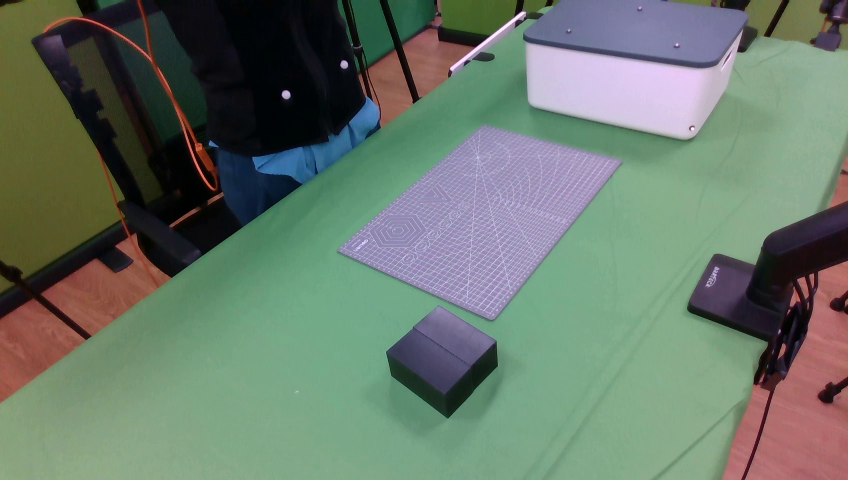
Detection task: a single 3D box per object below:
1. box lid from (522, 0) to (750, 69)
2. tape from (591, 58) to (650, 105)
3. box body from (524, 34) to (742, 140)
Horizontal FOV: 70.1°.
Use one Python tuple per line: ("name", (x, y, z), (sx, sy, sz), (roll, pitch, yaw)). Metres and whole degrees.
("box lid", (0.405, -0.409, 1.163), (0.369, 0.015, 0.264), (20, 47, 29))
("tape", (0.407, -0.331, 1.259), (0.117, 0.053, 0.116), (-2, 40, 2))
("box body", (0.412, -0.354, 1.212), (0.361, 0.161, 0.254), (20, 48, 29))
